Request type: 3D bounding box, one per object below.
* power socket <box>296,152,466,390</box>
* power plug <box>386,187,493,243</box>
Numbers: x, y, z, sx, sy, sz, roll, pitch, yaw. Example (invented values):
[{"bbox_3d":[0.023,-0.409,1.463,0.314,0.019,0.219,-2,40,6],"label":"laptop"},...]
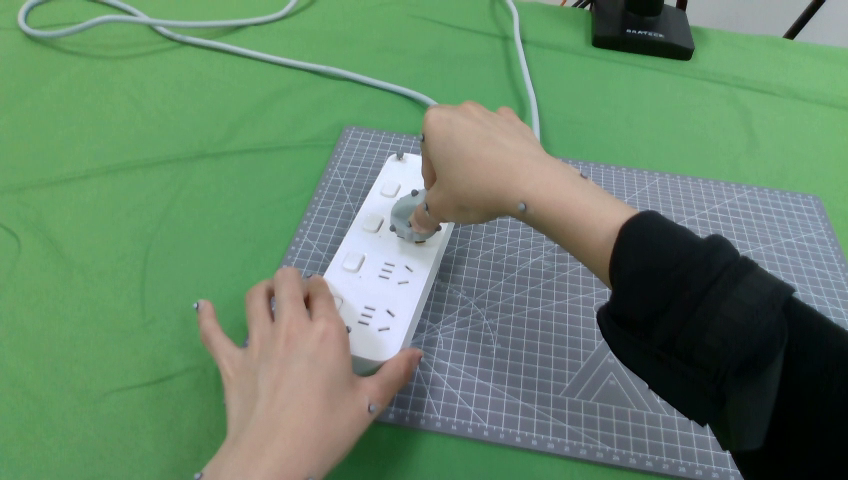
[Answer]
[{"bbox_3d":[-0.024,0.009,0.456,0.072,0.033,0.225,15,47,8],"label":"power socket"},{"bbox_3d":[0.007,-0.009,0.435,0.072,0.053,0.035,26,56,13],"label":"power plug"}]
